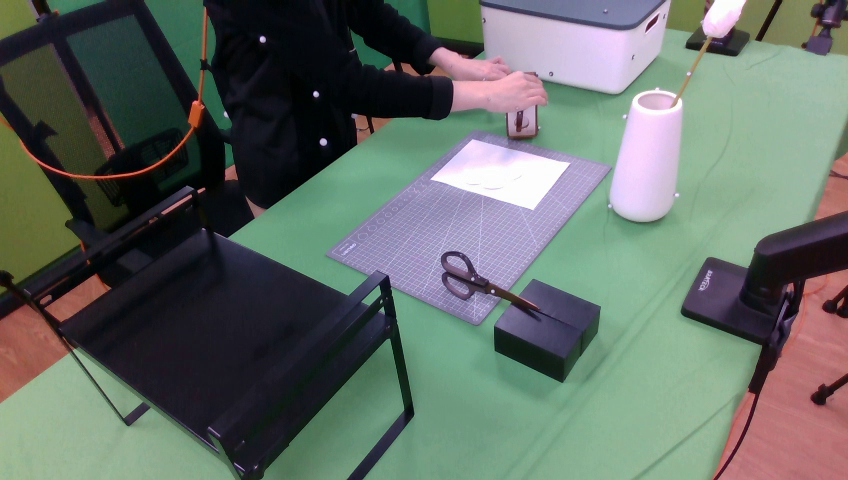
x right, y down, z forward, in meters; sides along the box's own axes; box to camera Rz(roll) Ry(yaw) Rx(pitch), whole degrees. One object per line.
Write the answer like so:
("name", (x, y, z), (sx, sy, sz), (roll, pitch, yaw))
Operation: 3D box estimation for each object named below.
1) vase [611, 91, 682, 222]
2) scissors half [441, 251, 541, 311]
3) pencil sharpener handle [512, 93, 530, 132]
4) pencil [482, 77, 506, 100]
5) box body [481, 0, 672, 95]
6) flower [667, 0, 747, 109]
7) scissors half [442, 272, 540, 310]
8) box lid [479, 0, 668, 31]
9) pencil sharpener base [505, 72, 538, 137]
("vase", (0.348, -0.125, 0.935), (0.098, 0.201, 0.097), (-3, 40, 3))
("scissors half", (0.087, 0.056, 0.824), (0.173, 0.040, 0.013), (29, 44, 36))
("pencil sharpener handle", (0.181, -0.238, 1.129), (0.036, 0.068, 0.030), (3, 41, 8))
("pencil", (0.156, -0.326, 1.311), (0.012, 0.012, 0.192), (-13, 31, -6))
("box body", (0.341, -0.480, 1.381), (0.361, 0.161, 0.255), (22, 48, 30))
("flower", (0.354, -0.187, 0.879), (0.038, 0.362, 0.044), (31, 48, 14))
("scissors half", (0.089, 0.074, 0.832), (0.013, 0.040, 0.173), (-24, 23, -38))
("box lid", (0.335, -0.536, 1.331), (0.368, 0.015, 0.264), (23, 49, 30))
("pencil sharpener base", (0.191, -0.261, 1.176), (0.061, 0.107, 0.076), (0, 40, 11))
